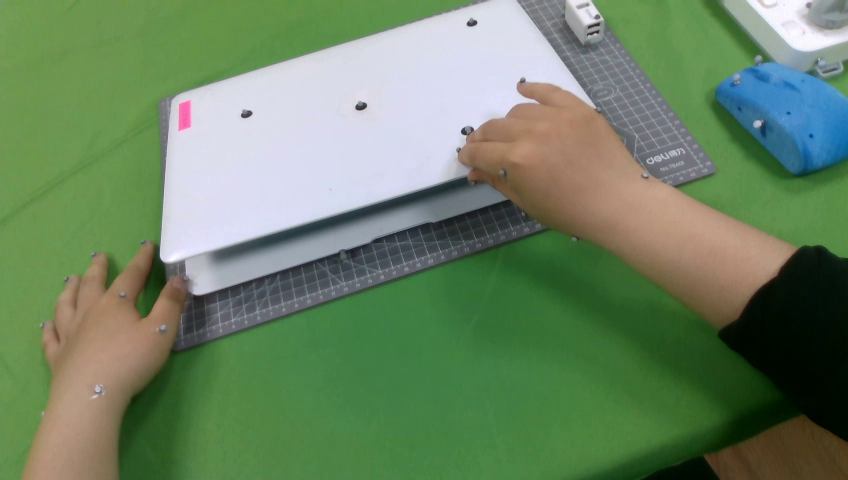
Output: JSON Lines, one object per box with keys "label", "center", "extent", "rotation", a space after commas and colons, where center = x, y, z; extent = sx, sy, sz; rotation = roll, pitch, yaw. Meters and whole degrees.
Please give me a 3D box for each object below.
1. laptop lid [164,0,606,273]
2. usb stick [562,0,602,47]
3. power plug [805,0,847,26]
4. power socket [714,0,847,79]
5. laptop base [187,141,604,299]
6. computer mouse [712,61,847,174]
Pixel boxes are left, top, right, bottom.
{"label": "laptop lid", "center": [-0.054, -0.110, 0.526], "extent": [0.357, 0.013, 0.239], "rotation": [-17, 49, -1]}
{"label": "usb stick", "center": [0.150, -0.217, 0.588], "extent": [0.021, 0.027, 0.058], "rotation": [-20, 54, 1]}
{"label": "power plug", "center": [0.362, -0.198, 0.512], "extent": [0.072, 0.053, 0.035], "rotation": [-7, 59, 4]}
{"label": "power socket", "center": [0.319, -0.237, 0.570], "extent": [0.072, 0.033, 0.224], "rotation": [-17, 56, -1]}
{"label": "laptop base", "center": [-0.048, -0.093, 0.550], "extent": [0.354, 0.023, 0.233], "rotation": [-18, 59, -2]}
{"label": "computer mouse", "center": [0.290, -0.105, 0.485], "extent": [0.063, 0.041, 0.116], "rotation": [-23, 51, -3]}
